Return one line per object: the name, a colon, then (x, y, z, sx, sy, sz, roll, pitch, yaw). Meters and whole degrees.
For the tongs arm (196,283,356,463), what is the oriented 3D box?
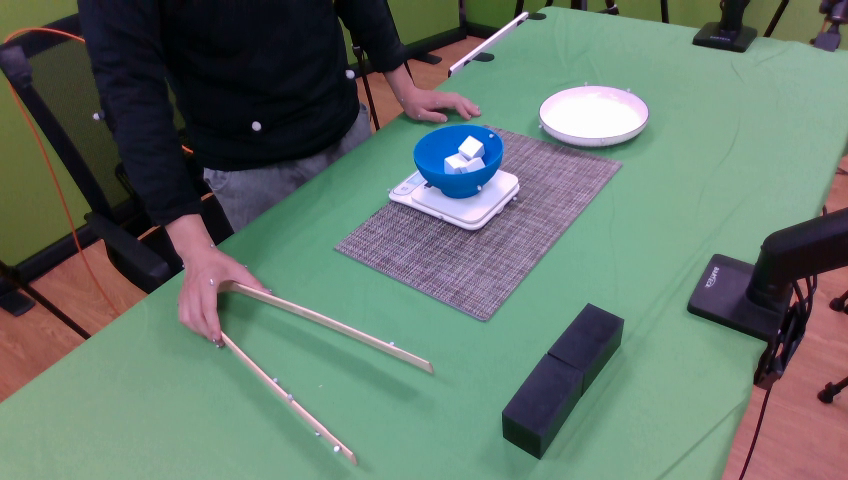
tongs arm: (-0.202, 0.159, 0.795, 0.381, 0.027, 0.051, 27, 59, 35)

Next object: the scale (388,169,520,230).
scale: (0.050, -0.090, 1.051, 0.199, 0.032, 0.149, 24, 49, 31)

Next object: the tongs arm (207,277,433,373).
tongs arm: (-0.154, 0.112, 0.832, 0.385, 0.028, 0.028, 16, 57, 28)

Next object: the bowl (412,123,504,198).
bowl: (0.060, -0.123, 1.007, 0.151, 0.077, 0.150, -5, 41, 5)

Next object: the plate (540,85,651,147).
plate: (0.333, -0.238, 1.186, 0.207, 0.039, 0.206, -4, 41, 4)
